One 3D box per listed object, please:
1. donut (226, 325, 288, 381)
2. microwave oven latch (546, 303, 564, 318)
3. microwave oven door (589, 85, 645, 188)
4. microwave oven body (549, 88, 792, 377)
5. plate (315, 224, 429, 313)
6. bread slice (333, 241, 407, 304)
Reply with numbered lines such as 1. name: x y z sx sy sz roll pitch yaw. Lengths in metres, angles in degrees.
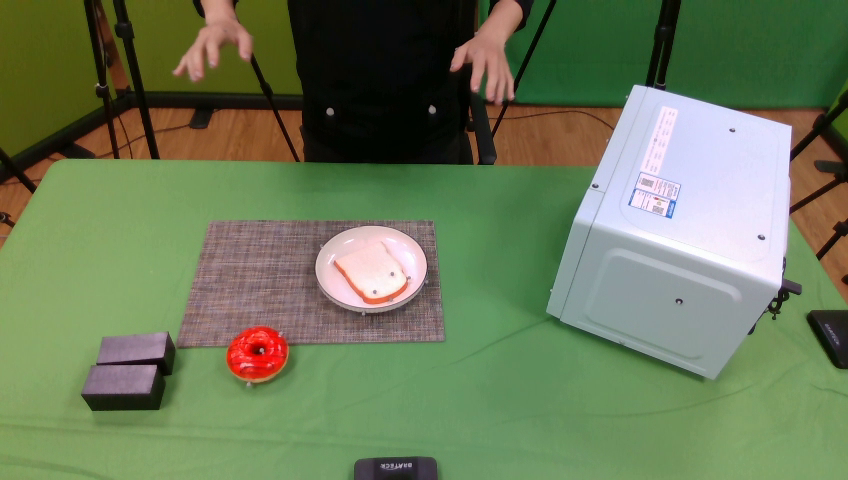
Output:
1. donut: -0.270 0.182 0.984 0.099 0.048 0.098 4 49 -5
2. microwave oven latch: 0.242 0.102 1.081 0.030 0.029 0.079 21 48 17
3. microwave oven door: 0.342 -0.107 1.149 0.039 0.245 0.354 20 48 15
4. microwave oven body: 0.456 -0.028 1.088 0.325 0.261 0.440 20 47 16
5. plate: -0.096 0.055 1.121 0.208 0.039 0.206 2 46 -2
6. bread slice: -0.092 0.060 1.117 0.105 0.019 0.130 -24 52 -24
